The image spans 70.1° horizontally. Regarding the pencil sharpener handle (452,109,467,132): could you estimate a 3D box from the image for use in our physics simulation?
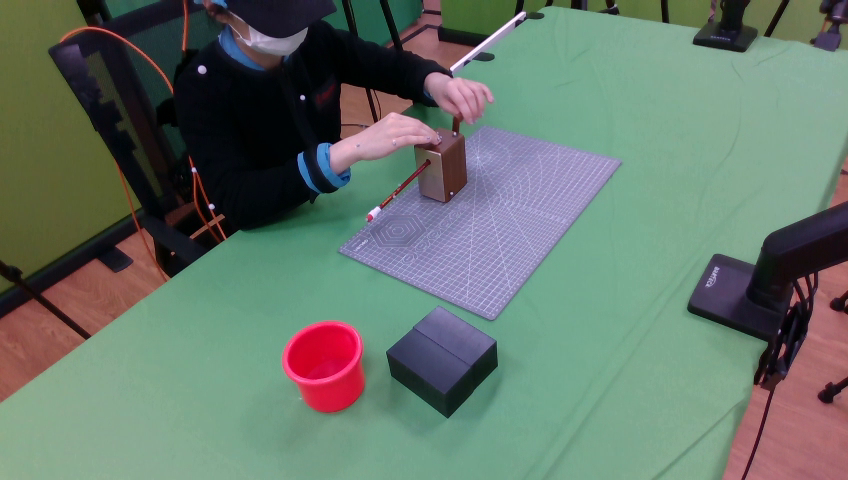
[{"bbox_3d":[0.060,-0.193,1.048,0.036,0.068,0.031,30,52,20],"label":"pencil sharpener handle"}]

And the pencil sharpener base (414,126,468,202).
[{"bbox_3d":[0.032,-0.132,1.047,0.061,0.107,0.077,21,48,30],"label":"pencil sharpener base"}]

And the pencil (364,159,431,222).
[{"bbox_3d":[-0.031,-0.091,0.978,0.012,0.012,0.194,24,55,32],"label":"pencil"}]
